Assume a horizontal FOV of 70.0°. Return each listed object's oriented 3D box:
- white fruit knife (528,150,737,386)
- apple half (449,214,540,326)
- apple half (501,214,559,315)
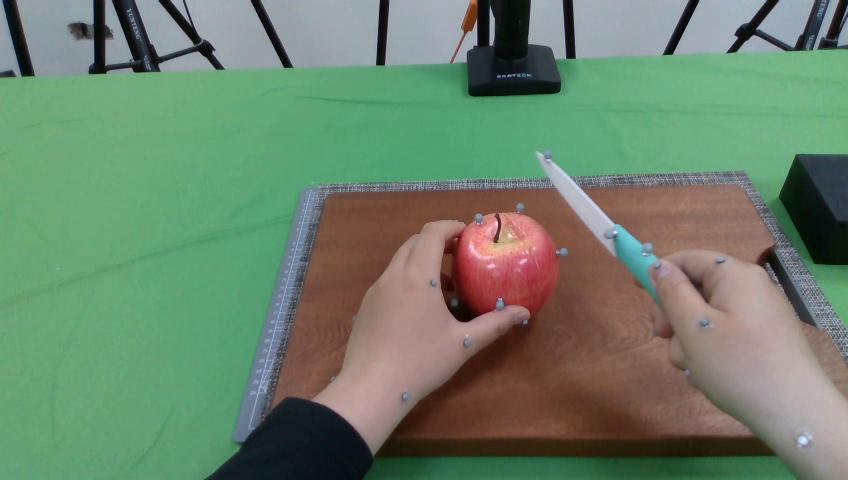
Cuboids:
[{"bbox_3d":[0.124,0.004,0.392,0.016,0.028,0.205,-22,53,-18],"label":"white fruit knife"},{"bbox_3d":[0.047,0.027,0.452,0.053,0.075,0.080,-19,47,-10],"label":"apple half"},{"bbox_3d":[0.083,0.016,0.460,0.033,0.082,0.080,-18,43,-10],"label":"apple half"}]
